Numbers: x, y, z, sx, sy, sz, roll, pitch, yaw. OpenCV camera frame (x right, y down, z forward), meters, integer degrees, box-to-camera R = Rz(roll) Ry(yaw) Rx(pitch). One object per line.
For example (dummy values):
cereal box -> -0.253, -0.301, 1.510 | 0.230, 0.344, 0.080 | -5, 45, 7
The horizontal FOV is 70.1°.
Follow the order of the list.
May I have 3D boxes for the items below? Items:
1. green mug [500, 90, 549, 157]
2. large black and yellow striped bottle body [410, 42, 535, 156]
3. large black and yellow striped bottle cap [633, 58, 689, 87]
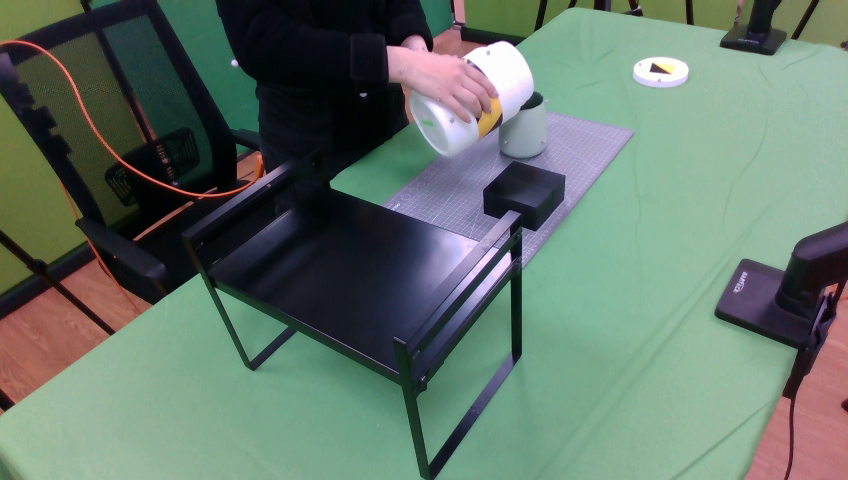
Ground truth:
green mug -> 0.196, -0.229, 1.145 | 0.092, 0.105, 0.125 | 15, 46, 25
large black and yellow striped bottle body -> 0.084, -0.243, 1.024 | 0.184, 0.131, 0.129 | -35, 46, -12
large black and yellow striped bottle cap -> 0.522, -0.370, 1.332 | 0.115, 0.019, 0.114 | -3, 41, 3
